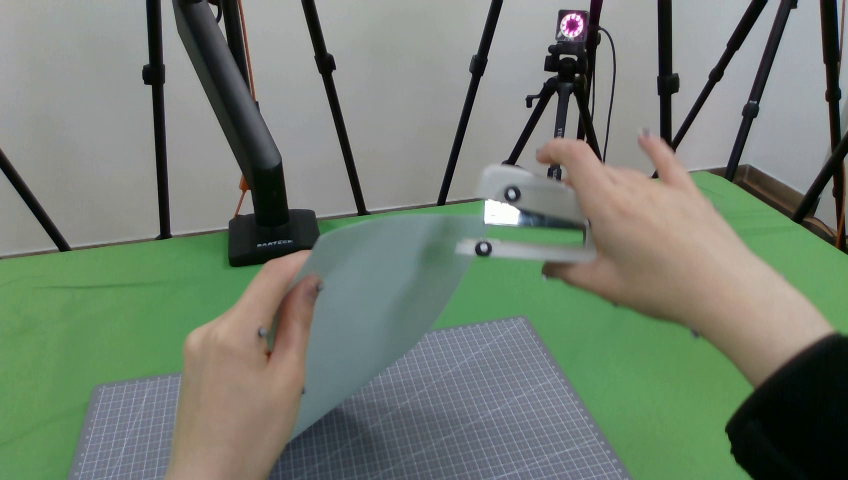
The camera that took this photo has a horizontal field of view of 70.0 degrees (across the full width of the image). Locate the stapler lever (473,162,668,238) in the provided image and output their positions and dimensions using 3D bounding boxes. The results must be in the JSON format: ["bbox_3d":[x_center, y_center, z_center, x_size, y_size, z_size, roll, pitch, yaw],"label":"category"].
[{"bbox_3d":[0.090,-0.025,0.378,0.118,0.040,0.027,6,6,7],"label":"stapler lever"}]

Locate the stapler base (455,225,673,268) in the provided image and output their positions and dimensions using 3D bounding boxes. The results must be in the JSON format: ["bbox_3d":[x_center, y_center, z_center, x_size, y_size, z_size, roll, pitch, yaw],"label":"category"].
[{"bbox_3d":[0.086,0.000,0.379,0.130,0.024,0.041,5,6,8],"label":"stapler base"}]
